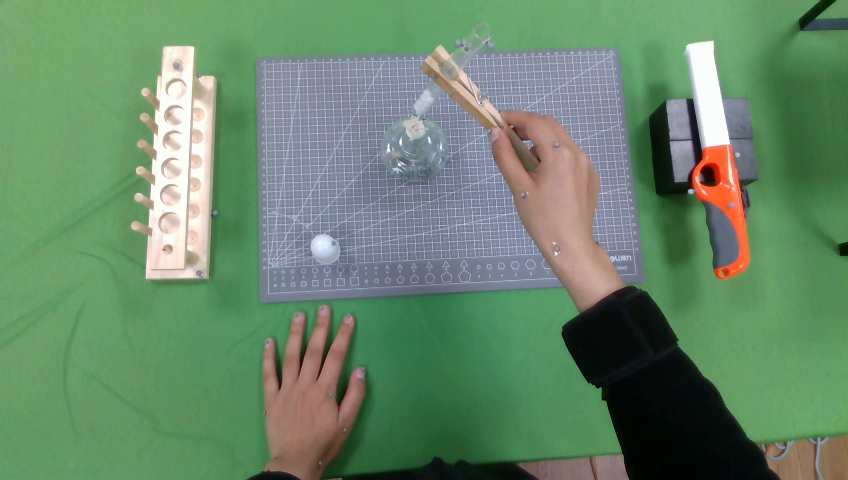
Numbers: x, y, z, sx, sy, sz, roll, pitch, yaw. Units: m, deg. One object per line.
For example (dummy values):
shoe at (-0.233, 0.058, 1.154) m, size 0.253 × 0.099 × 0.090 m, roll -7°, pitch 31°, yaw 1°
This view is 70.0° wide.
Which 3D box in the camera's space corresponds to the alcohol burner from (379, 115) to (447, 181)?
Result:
alcohol burner at (-0.012, -0.108, 0.673) m, size 0.078 × 0.119 × 0.077 m, roll 0°, pitch 81°, yaw -2°

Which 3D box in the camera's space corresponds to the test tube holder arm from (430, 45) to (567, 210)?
test tube holder arm at (0.067, -0.097, 0.533) m, size 0.179 × 0.015 × 0.013 m, roll 48°, pitch 68°, yaw -7°

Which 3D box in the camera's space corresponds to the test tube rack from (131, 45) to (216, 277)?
test tube rack at (-0.280, -0.084, 0.671) m, size 0.067 × 0.085 × 0.241 m, roll -1°, pitch 80°, yaw -3°

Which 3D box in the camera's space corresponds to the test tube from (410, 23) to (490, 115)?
test tube at (0.018, -0.143, 0.525) m, size 0.017 × 0.150 × 0.017 m, roll 4°, pitch 77°, yaw -20°

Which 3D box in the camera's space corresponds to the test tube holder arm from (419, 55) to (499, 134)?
test tube holder arm at (0.032, -0.125, 0.525) m, size 0.088 × 0.015 × 0.010 m, roll 40°, pitch 68°, yaw -10°

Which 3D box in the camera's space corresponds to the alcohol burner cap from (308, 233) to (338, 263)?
alcohol burner cap at (-0.115, 0.007, 0.683) m, size 0.034 × 0.048 × 0.033 m, roll 1°, pitch 80°, yaw -4°

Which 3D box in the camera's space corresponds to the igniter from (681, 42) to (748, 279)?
igniter at (0.328, -0.094, 0.689) m, size 0.057 × 0.025 × 0.275 m, roll -5°, pitch 80°, yaw 8°
